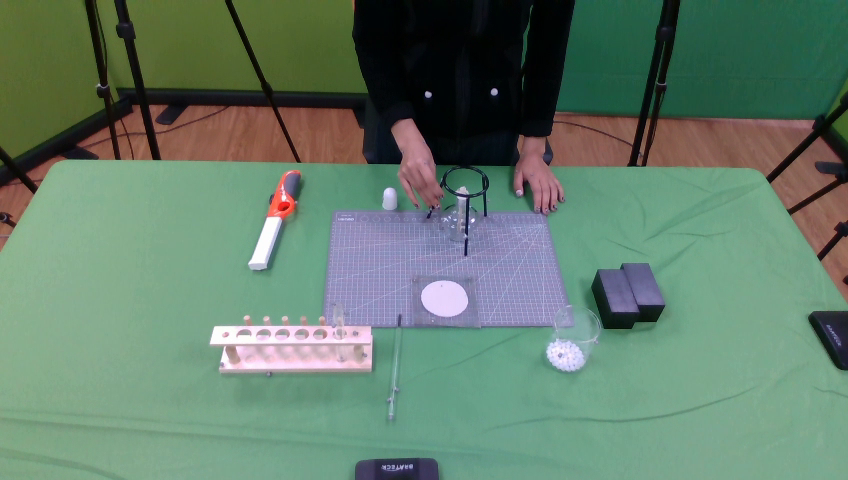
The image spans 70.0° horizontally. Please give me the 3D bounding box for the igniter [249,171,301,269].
[{"bbox_3d":[-0.297,-0.049,1.221,0.057,0.025,0.275,-1,45,9],"label":"igniter"}]

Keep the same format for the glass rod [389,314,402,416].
[{"bbox_3d":[-0.048,0.203,1.008,0.008,0.008,0.198,4,45,0],"label":"glass rod"}]

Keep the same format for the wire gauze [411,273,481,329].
[{"bbox_3d":[0.038,0.108,1.103,0.125,0.011,0.120,2,47,-3],"label":"wire gauze"}]

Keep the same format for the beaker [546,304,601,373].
[{"bbox_3d":[0.242,0.167,1.001,0.084,0.101,0.073,-32,55,-28],"label":"beaker"}]

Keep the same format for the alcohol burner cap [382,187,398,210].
[{"bbox_3d":[-0.072,-0.090,1.266,0.034,0.048,0.033,3,47,-3],"label":"alcohol burner cap"}]

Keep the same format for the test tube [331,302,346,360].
[{"bbox_3d":[-0.132,0.144,0.938,0.017,0.151,0.017,2,49,-3],"label":"test tube"}]

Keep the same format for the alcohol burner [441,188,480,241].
[{"bbox_3d":[0.073,-0.055,1.189,0.078,0.120,0.077,1,48,0],"label":"alcohol burner"}]

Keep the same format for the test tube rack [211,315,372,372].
[{"bbox_3d":[-0.208,0.164,0.982,0.242,0.085,0.066,1,46,-4],"label":"test tube rack"}]

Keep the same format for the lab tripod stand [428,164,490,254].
[{"bbox_3d":[0.078,-0.068,1.188,0.148,0.132,0.147,3,47,-3],"label":"lab tripod stand"}]
